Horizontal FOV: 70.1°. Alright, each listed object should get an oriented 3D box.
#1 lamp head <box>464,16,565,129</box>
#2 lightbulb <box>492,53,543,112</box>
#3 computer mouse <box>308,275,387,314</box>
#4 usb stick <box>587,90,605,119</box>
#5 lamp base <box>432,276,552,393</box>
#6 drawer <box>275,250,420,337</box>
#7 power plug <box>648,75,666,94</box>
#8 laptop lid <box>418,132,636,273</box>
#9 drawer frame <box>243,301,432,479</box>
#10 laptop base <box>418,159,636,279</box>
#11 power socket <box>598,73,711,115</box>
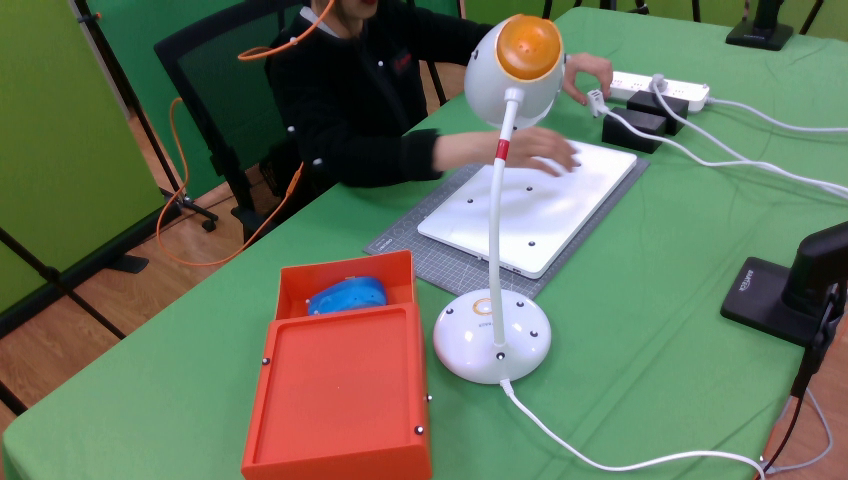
[{"bbox_3d":[0.101,-0.184,0.655,0.112,0.112,0.123,-9,1,0],"label":"lamp head"},{"bbox_3d":[0.108,-0.181,0.679,0.059,0.059,0.108,-9,-3,1],"label":"lightbulb"},{"bbox_3d":[-0.113,0.089,0.881,0.117,0.041,0.062,-16,43,-1],"label":"computer mouse"},{"bbox_3d":[0.334,-0.258,1.171,0.021,0.059,0.027,-30,45,-6],"label":"usb stick"},{"bbox_3d":[0.085,0.075,0.756,0.161,0.181,0.178,-14,44,-5],"label":"lamp base"},{"bbox_3d":[-0.104,0.117,0.825,0.194,0.073,0.210,-8,40,1],"label":"drawer"},{"bbox_3d":[0.457,-0.301,1.212,0.073,0.053,0.035,-36,47,-28],"label":"power plug"},{"bbox_3d":[0.181,-0.084,1.036,0.239,0.013,0.358,22,49,35],"label":"laptop lid"},{"bbox_3d":[-0.096,0.185,0.738,0.202,0.083,0.212,-8,40,1],"label":"drawer frame"},{"bbox_3d":[0.185,-0.074,1.042,0.233,0.023,0.355,19,48,35],"label":"laptop base"},{"bbox_3d":[0.470,-0.303,1.249,0.225,0.033,0.072,20,49,30],"label":"power socket"}]
